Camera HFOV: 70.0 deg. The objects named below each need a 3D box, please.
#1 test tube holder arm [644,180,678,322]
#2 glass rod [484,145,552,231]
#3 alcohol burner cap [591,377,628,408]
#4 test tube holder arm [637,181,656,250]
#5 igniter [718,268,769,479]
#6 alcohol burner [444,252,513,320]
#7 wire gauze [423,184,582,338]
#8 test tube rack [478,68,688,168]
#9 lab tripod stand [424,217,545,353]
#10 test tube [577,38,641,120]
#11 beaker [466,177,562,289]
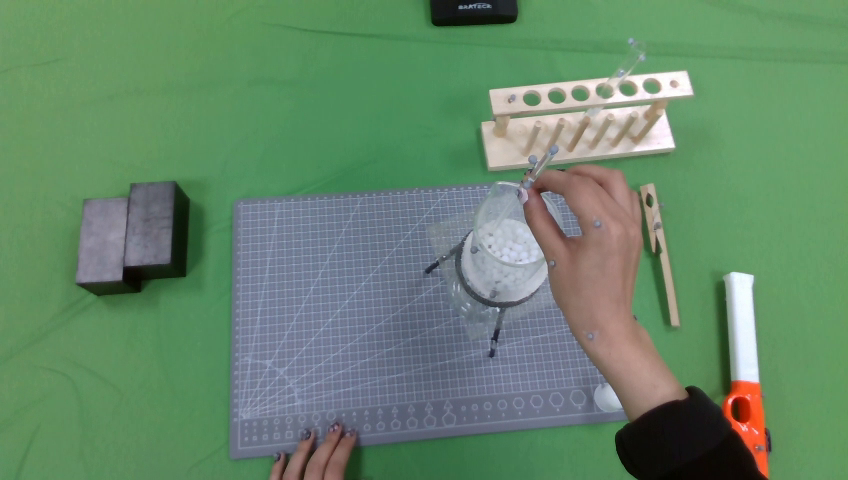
[{"bbox_3d":[0.286,0.011,0.736,0.013,0.015,0.177,-15,70,27],"label":"test tube holder arm"},{"bbox_3d":[0.072,-0.036,0.499,0.008,0.200,0.008,2,75,-6],"label":"glass rod"},{"bbox_3d":[0.206,0.165,0.665,0.034,0.048,0.033,1,70,-2],"label":"alcohol burner cap"},{"bbox_3d":[0.277,-0.031,0.752,0.010,0.015,0.087,-14,70,28],"label":"test tube holder arm"},{"bbox_3d":[0.358,0.165,0.684,0.057,0.025,0.275,10,71,-10],"label":"igniter"},{"bbox_3d":[0.062,0.046,0.661,0.078,0.120,0.077,1,69,-1],"label":"alcohol burner"},{"bbox_3d":[0.075,0.016,0.592,0.121,0.011,0.124,-21,75,-6],"label":"wire gauze"},{"bbox_3d":[0.195,-0.150,0.752,0.242,0.085,0.066,-7,71,-5],"label":"test tube rack"},{"bbox_3d":[0.068,0.040,0.653,0.148,0.132,0.147,0,72,-1],"label":"lab tripod stand"},{"bbox_3d":[0.214,-0.183,0.712,0.017,0.151,0.017,3,69,-8],"label":"test tube"},{"bbox_3d":[0.074,-0.002,0.547,0.074,0.101,0.083,-19,72,-7],"label":"beaker"}]
